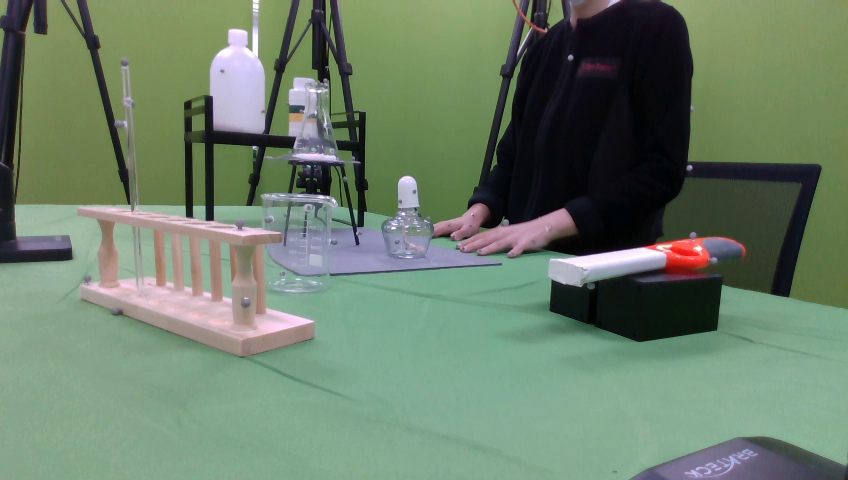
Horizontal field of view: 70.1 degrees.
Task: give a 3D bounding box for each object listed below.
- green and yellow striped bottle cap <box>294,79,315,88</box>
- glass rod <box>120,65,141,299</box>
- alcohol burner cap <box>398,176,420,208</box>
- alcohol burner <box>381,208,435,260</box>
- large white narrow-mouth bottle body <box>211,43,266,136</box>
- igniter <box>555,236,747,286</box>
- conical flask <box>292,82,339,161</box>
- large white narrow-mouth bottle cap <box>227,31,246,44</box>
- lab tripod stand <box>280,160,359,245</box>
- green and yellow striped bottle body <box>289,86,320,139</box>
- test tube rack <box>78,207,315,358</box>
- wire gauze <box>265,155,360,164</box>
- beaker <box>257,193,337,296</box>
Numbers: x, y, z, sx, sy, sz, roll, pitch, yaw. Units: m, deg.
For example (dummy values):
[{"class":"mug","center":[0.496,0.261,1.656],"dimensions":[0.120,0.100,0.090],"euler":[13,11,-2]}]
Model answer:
[{"class":"green and yellow striped bottle cap","center":[-0.248,-0.323,1.256],"dimensions":[0.045,0.020,0.045],"euler":[3,9,0]},{"class":"glass rod","center":[-0.249,-0.047,0.513],"dimensions":[0.008,0.199,0.008],"euler":[-1,4,0]},{"class":"alcohol burner cap","center":[-0.023,-0.068,0.866],"dimensions":[0.034,0.048,0.034],"euler":[-4,8,1]},{"class":"alcohol burner","center":[-0.023,-0.032,0.872],"dimensions":[0.078,0.119,0.078],"euler":[0,6,0]},{"class":"large white narrow-mouth bottle body","center":[-0.361,-0.302,1.176],"dimensions":[0.102,0.194,0.102],"euler":[1,7,0]},{"class":"igniter","center":[0.221,0.017,0.558],"dimensions":[0.278,0.025,0.057],"euler":[-5,15,-39]},{"class":"conical flask","center":[-0.171,-0.185,0.957],"dimensions":[0.075,0.122,0.075],"euler":[2,7,0]},{"class":"large white narrow-mouth bottle cap","center":[-0.361,-0.388,1.166],"dimensions":[0.038,0.024,0.037],"euler":[1,7,0]},{"class":"lab tripod stand","center":[-0.176,-0.062,0.973],"dimensions":[0.148,0.131,0.148],"euler":[1,7,0]},{"class":"green and yellow striped bottle body","center":[-0.250,-0.272,1.261],"dimensions":[0.063,0.119,0.063],"euler":[3,7,0]},{"class":"test tube rack","center":[-0.196,0.023,0.500],"dimensions":[0.241,0.085,0.067],"euler":[8,9,37]},{"class":"wire gauze","center":[-0.181,-0.128,0.969],"dimensions":[0.126,0.011,0.121],"euler":[-3,7,-26]},{"class":"beaker","center":[-0.130,0.004,0.628],"dimensions":[0.084,0.100,0.074],"euler":[5,8,15]}]
